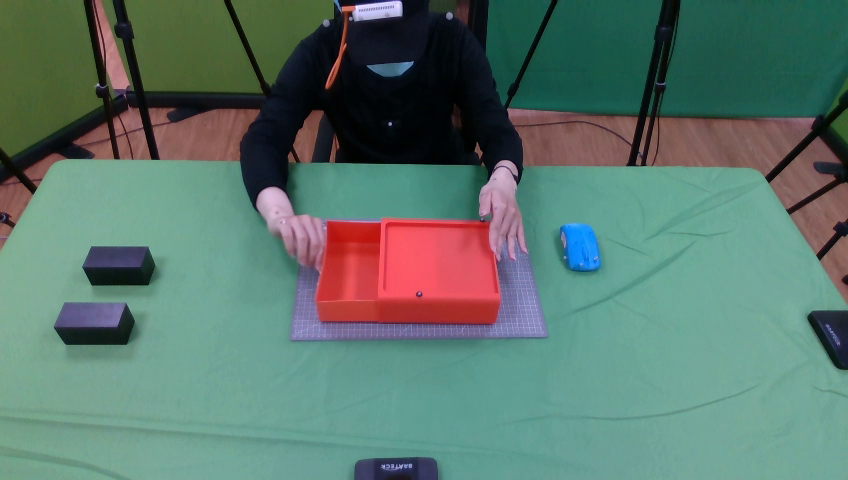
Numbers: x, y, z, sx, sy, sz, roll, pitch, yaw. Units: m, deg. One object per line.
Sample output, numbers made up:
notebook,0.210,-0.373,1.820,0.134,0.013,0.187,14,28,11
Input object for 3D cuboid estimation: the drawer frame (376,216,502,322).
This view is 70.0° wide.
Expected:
drawer frame,0.022,0.051,1.100,0.214,0.083,0.200,1,46,-3

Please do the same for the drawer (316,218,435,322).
drawer,-0.079,0.052,1.096,0.212,0.073,0.193,2,46,-3

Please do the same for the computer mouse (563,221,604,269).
computer mouse,0.314,0.006,1.196,0.063,0.041,0.116,1,51,-5
